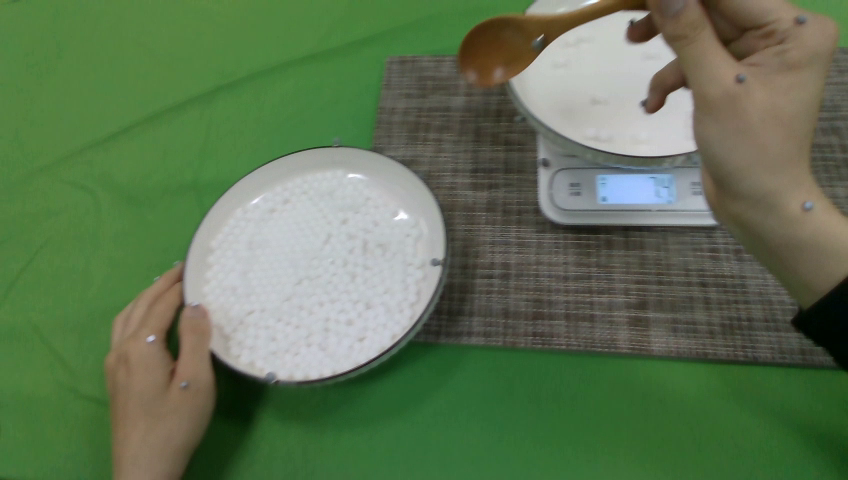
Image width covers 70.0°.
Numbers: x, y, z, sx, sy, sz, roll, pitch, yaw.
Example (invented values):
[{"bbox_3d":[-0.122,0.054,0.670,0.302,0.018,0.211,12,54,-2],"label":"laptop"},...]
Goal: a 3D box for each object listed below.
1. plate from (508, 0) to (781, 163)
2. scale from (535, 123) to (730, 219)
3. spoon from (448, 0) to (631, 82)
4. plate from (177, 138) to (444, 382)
[{"bbox_3d":[0.171,-0.143,0.493,0.207,0.039,0.206,-3,60,5],"label":"plate"},{"bbox_3d":[0.170,-0.109,0.511,0.148,0.032,0.199,1,61,8],"label":"scale"},{"bbox_3d":[0.091,-0.130,0.334,0.193,0.042,0.021,-8,34,44],"label":"spoon"},{"bbox_3d":[-0.085,0.013,0.475,0.209,0.038,0.207,-4,61,7],"label":"plate"}]
